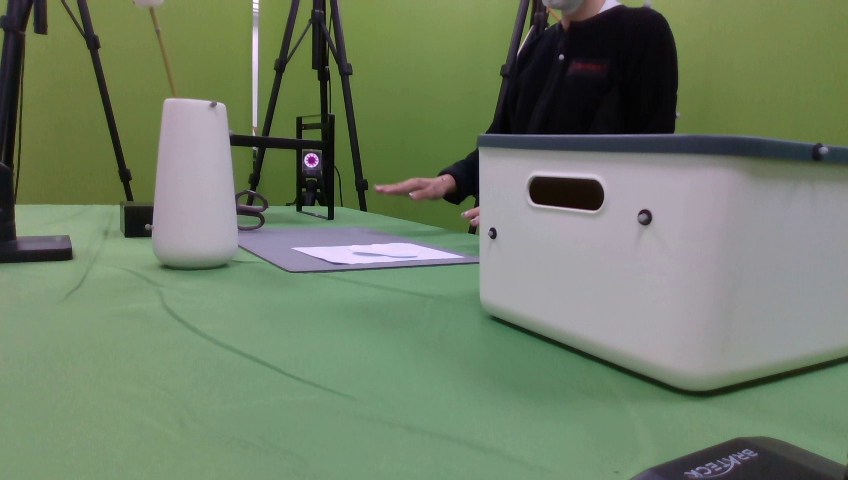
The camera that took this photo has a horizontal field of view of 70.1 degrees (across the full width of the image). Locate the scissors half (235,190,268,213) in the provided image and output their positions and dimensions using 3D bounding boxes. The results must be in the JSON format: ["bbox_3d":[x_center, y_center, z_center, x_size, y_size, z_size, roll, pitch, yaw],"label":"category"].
[{"bbox_3d":[-0.363,-0.070,1.060,0.176,0.040,0.013,0,16,-23],"label":"scissors half"}]

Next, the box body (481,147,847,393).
[{"bbox_3d":[0.255,0.001,0.541,0.366,0.160,0.253,-2,9,-31],"label":"box body"}]

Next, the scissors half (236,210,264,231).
[{"bbox_3d":[-0.369,-0.051,1.064,0.176,0.040,0.012,19,13,-27],"label":"scissors half"}]

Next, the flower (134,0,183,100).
[{"bbox_3d":[-0.282,-0.147,0.713,0.038,0.362,0.044,-23,24,-31],"label":"flower"}]

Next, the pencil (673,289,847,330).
[{"bbox_3d":[0.330,0.066,0.609,0.012,0.012,0.193,-1,6,-28],"label":"pencil"}]

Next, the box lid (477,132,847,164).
[{"bbox_3d":[0.257,-0.072,0.531,0.373,0.015,0.262,-1,8,-31],"label":"box lid"}]

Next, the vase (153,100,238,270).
[{"bbox_3d":[-0.278,-0.066,0.736,0.098,0.200,0.098,2,9,0],"label":"vase"}]
